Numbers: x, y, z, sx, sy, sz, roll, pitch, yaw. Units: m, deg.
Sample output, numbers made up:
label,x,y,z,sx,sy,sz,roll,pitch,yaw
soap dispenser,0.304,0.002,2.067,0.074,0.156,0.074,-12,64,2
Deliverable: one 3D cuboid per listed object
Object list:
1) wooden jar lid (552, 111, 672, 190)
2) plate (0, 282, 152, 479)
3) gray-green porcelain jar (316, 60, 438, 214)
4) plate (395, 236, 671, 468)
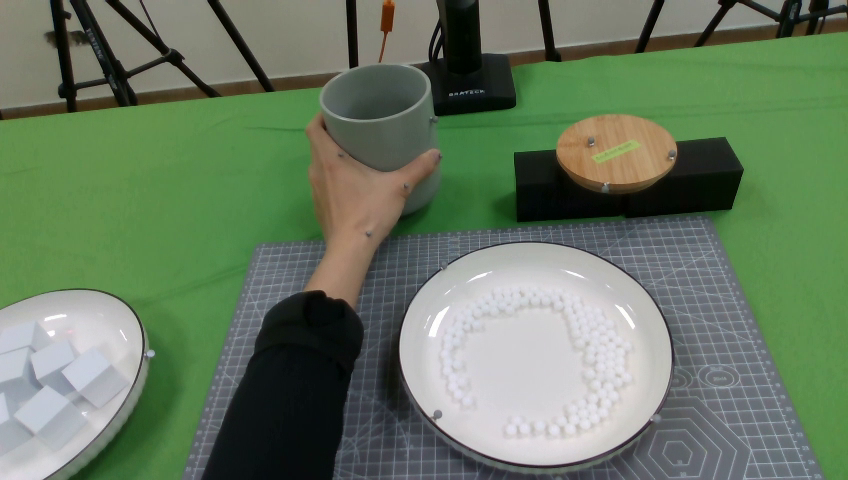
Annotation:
label,x,y,z,sx,sy,sz,roll,pitch,yaw
wooden jar lid,0.176,-0.084,0.572,0.108,0.021,0.107,-4,46,4
plate,-0.327,0.124,0.502,0.207,0.039,0.205,-4,45,5
gray-green porcelain jar,-0.041,-0.098,0.605,0.106,0.128,0.105,-4,45,5
plate,0.082,0.082,0.477,0.209,0.038,0.207,-5,45,5
